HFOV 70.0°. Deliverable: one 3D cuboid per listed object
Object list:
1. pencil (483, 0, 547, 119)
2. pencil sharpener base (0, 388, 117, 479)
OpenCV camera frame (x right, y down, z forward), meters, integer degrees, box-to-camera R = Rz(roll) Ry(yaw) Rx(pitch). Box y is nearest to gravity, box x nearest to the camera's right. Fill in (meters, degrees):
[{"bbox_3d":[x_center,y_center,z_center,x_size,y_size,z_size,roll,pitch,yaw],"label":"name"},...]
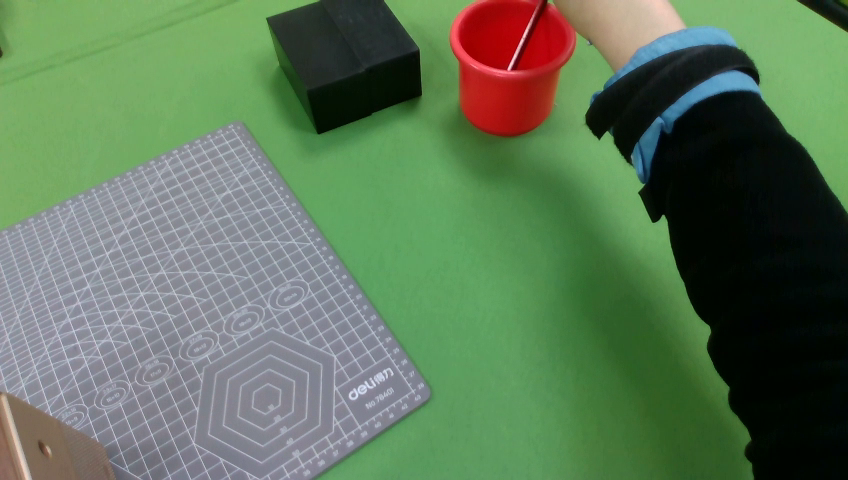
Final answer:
[{"bbox_3d":[0.091,-0.186,0.484,0.012,0.012,0.194,31,104,20],"label":"pencil"},{"bbox_3d":[-0.218,0.134,0.311,0.077,0.108,0.061,-30,61,-16],"label":"pencil sharpener base"}]
